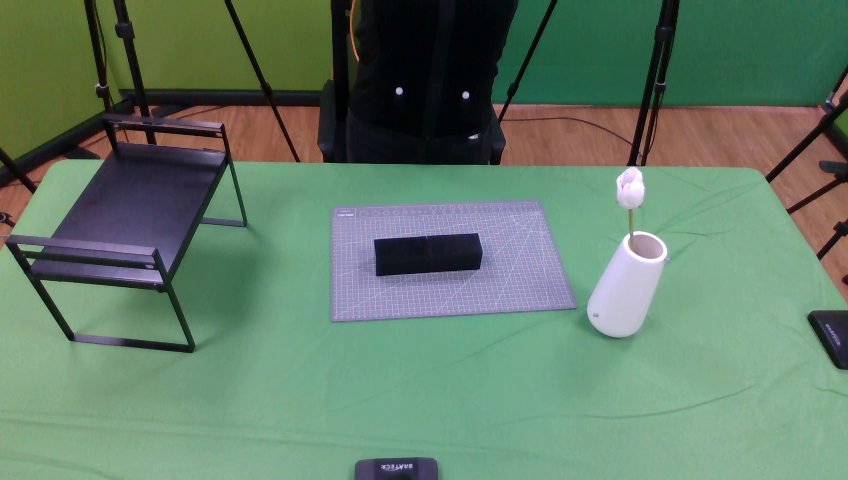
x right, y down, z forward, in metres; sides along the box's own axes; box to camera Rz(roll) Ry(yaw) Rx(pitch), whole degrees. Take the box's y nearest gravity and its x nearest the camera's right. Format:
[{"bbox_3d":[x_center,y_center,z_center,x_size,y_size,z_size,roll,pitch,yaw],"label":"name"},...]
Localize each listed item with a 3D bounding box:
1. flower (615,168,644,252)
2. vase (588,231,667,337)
[{"bbox_3d":[0.330,0.024,0.959,0.038,0.364,0.044,-5,51,17],"label":"flower"},{"bbox_3d":[0.343,0.078,1.023,0.098,0.201,0.097,2,47,-2],"label":"vase"}]
